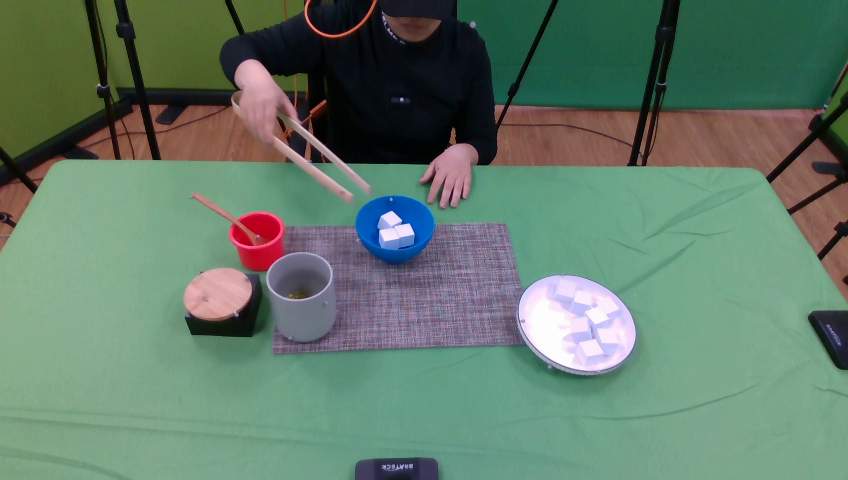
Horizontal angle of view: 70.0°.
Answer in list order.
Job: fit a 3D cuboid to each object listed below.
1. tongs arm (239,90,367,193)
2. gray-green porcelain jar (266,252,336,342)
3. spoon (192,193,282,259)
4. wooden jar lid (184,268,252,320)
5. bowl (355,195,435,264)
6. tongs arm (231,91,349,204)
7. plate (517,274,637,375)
[{"bbox_3d":[-0.241,-0.199,1.183,0.028,0.028,0.385,-38,60,-25],"label":"tongs arm"},{"bbox_3d":[-0.202,0.100,1.009,0.106,0.127,0.105,2,46,-2],"label":"gray-green porcelain jar"},{"bbox_3d":[-0.342,-0.027,1.115,0.194,0.021,0.041,43,40,-24],"label":"spoon"},{"bbox_3d":[-0.343,0.092,1.015,0.108,0.021,0.107,3,46,-3],"label":"wooden jar lid"},{"bbox_3d":[-0.056,-0.008,1.158,0.151,0.077,0.150,2,46,-2],"label":"bowl"},{"bbox_3d":[-0.261,-0.186,1.169,0.383,0.026,0.051,36,57,25],"label":"tongs arm"},{"bbox_3d":[0.264,0.149,1.060,0.209,0.038,0.208,3,46,-3],"label":"plate"}]
